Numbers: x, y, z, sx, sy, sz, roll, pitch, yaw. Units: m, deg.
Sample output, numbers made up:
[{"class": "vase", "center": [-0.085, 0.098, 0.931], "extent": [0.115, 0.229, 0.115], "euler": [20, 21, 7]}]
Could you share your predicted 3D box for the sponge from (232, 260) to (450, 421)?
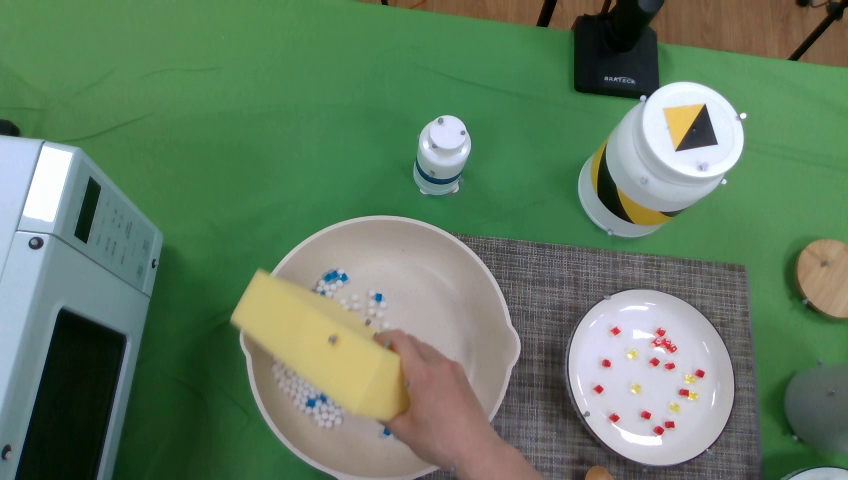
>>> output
[{"class": "sponge", "center": [-0.089, 0.101, 0.625], "extent": [0.205, 0.119, 0.061], "euler": [26, 85, 38]}]

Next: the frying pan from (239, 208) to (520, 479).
[{"class": "frying pan", "center": [-0.053, 0.205, 0.649], "extent": [0.307, 0.103, 0.484], "euler": [4, 66, -3]}]

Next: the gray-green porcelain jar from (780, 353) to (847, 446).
[{"class": "gray-green porcelain jar", "center": [0.497, 0.187, 0.709], "extent": [0.106, 0.127, 0.105], "euler": [2, 73, -6]}]

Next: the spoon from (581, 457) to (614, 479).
[{"class": "spoon", "center": [0.248, 0.327, 0.692], "extent": [0.193, 0.022, 0.041], "euler": [46, 57, 6]}]

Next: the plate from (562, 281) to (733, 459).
[{"class": "plate", "center": [0.266, 0.154, 0.734], "extent": [0.209, 0.038, 0.208], "euler": [2, 74, -5]}]

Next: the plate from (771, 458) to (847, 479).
[{"class": "plate", "center": [0.472, 0.361, 0.703], "extent": [0.208, 0.039, 0.206], "euler": [2, 74, -6]}]

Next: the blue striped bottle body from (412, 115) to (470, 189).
[{"class": "blue striped bottle body", "center": [0.020, -0.112, 0.742], "extent": [0.063, 0.121, 0.062], "euler": [2, 74, -6]}]

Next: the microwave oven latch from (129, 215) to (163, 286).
[{"class": "microwave oven latch", "center": [-0.321, 0.010, 0.692], "extent": [0.030, 0.029, 0.078], "euler": [9, 74, -4]}]

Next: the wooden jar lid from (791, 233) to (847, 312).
[{"class": "wooden jar lid", "center": [0.541, 0.044, 0.810], "extent": [0.108, 0.021, 0.108], "euler": [2, 75, -5]}]

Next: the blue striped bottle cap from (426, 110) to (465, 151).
[{"class": "blue striped bottle cap", "center": [0.025, -0.126, 0.693], "extent": [0.044, 0.021, 0.044], "euler": [2, 71, -4]}]

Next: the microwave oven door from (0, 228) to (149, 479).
[{"class": "microwave oven door", "center": [-0.333, 0.190, 0.533], "extent": [0.039, 0.244, 0.353], "euler": [6, 73, -4]}]

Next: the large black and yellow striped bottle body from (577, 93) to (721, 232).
[{"class": "large black and yellow striped bottle body", "center": [0.275, -0.097, 0.735], "extent": [0.131, 0.184, 0.130], "euler": [2, 73, -5]}]

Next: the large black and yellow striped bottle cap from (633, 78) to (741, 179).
[{"class": "large black and yellow striped bottle cap", "center": [0.284, -0.121, 0.653], "extent": [0.115, 0.019, 0.114], "euler": [2, 72, -5]}]

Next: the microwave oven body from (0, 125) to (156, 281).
[{"class": "microwave oven body", "center": [-0.474, 0.135, 0.538], "extent": [0.326, 0.261, 0.439], "euler": [7, 74, -5]}]
